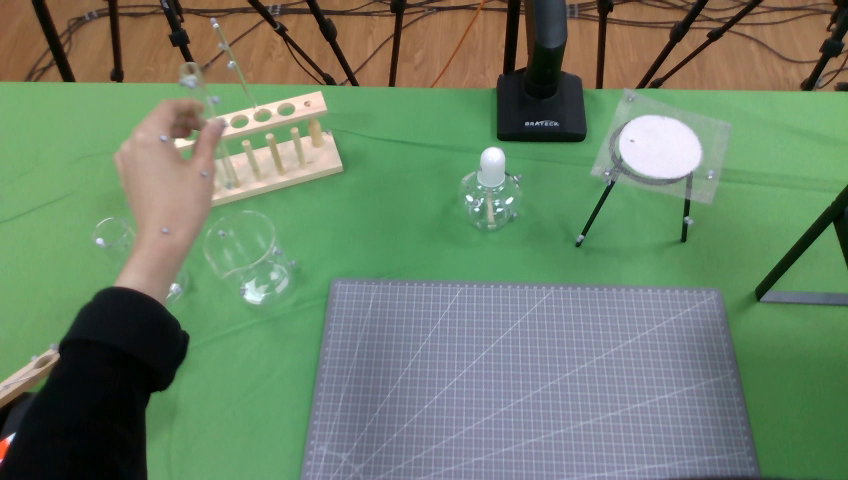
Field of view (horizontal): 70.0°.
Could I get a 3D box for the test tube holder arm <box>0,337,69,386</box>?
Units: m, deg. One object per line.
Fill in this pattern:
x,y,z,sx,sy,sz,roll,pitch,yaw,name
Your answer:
-0.435,0.158,0.596,0.178,0.015,0.013,-38,64,-19,test tube holder arm

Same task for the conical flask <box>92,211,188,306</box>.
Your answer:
-0.320,0.016,0.673,0.075,0.123,0.074,-1,58,2,conical flask

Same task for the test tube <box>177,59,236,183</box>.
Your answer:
-0.184,-0.096,0.524,0.017,0.151,0.017,2,60,-3,test tube

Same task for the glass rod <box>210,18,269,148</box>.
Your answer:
-0.214,-0.176,0.728,0.008,0.202,0.008,-4,52,6,glass rod

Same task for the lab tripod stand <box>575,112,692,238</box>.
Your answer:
0.245,-0.069,0.696,0.148,0.132,0.147,0,58,1,lab tripod stand

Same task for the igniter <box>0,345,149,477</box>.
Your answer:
-0.392,0.197,0.568,0.276,0.025,0.057,-38,66,-22,igniter

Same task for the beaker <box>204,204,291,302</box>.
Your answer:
-0.194,0.021,0.679,0.074,0.101,0.083,15,61,11,beaker

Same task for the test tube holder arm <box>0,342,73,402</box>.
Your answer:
-0.398,0.136,0.609,0.088,0.015,0.010,-37,63,-19,test tube holder arm

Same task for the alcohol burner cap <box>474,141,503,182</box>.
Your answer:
0.074,-0.092,0.686,0.034,0.048,0.033,-1,58,1,alcohol burner cap

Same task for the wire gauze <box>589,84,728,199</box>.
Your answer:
0.250,-0.105,0.639,0.121,0.011,0.124,21,63,12,wire gauze

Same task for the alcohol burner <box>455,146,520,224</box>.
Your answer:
0.076,-0.072,0.717,0.078,0.120,0.077,0,57,1,alcohol burner

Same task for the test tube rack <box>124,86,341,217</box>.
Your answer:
-0.237,-0.112,0.768,0.242,0.086,0.066,-17,60,-8,test tube rack
